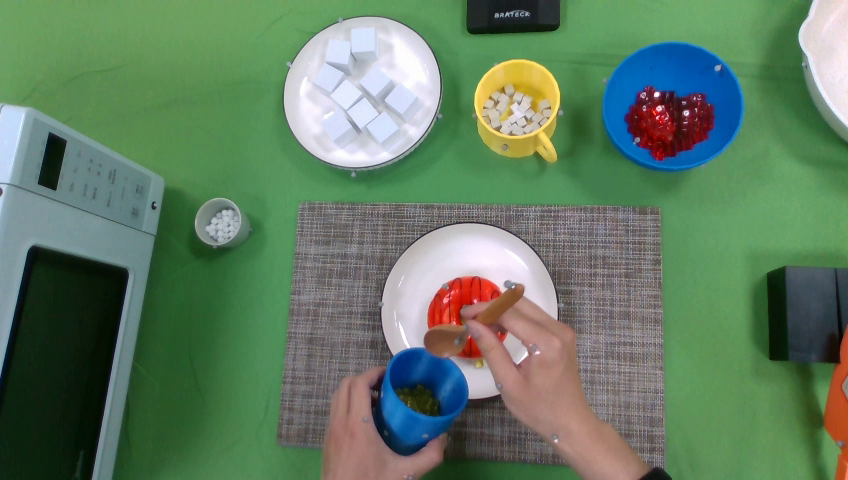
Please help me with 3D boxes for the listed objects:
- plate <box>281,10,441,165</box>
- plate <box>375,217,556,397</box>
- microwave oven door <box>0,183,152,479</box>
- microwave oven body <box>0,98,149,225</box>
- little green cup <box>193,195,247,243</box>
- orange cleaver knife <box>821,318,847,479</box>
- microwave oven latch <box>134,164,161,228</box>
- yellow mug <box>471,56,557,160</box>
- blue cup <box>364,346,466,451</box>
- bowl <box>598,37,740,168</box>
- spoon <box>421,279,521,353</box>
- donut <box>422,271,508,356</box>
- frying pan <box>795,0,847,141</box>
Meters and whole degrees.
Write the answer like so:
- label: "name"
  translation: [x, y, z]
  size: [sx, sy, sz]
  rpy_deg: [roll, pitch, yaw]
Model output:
- label: "plate"
  translation: [-0.079, -0.193, 0.783]
  size: [0.207, 0.039, 0.207]
  rpy_deg: [-1, 80, 8]
- label: "plate"
  translation: [0.048, 0.077, 0.712]
  size: [0.209, 0.038, 0.208]
  rpy_deg: [-1, 80, 8]
- label: "microwave oven door"
  translation: [-0.402, 0.139, 0.645]
  size: [0.039, 0.245, 0.354]
  rpy_deg: [4, 80, 9]
- label: "microwave oven body"
  translation: [-0.540, 0.087, 0.679]
  size: [0.325, 0.261, 0.440]
  rpy_deg: [5, 81, 8]
- label: "little green cup"
  translation: [-0.259, -0.024, 0.777]
  size: [0.061, 0.039, 0.061]
  rpy_deg: [-1, 81, 7]
- label: "orange cleaver knife"
  translation: [0.428, 0.184, 0.621]
  size: [0.012, 0.077, 0.212]
  rpy_deg: [1, 109, 9]
- label: "microwave oven latch"
  translation: [-0.363, -0.058, 0.779]
  size: [0.030, 0.029, 0.079]
  rpy_deg: [8, 82, 9]
- label: "yellow mug"
  translation: [0.118, -0.151, 0.733]
  size: [0.100, 0.064, 0.130]
  rpy_deg: [-35, 78, 1]
- label: "blue cup"
  translation: [-0.017, 0.169, 0.615]
  size: [0.093, 0.100, 0.091]
  rpy_deg: [16, 48, -18]
- label: "bowl"
  translation: [0.275, -0.147, 0.704]
  size: [0.151, 0.077, 0.151]
  rpy_deg: [-1, 80, 8]
- label: "spoon"
  translation: [0.040, 0.071, 0.531]
  size: [0.042, 0.194, 0.021]
  rpy_deg: [28, 64, -7]
- label: "donut"
  translation: [0.047, 0.084, 0.700]
  size: [0.099, 0.048, 0.099]
  rpy_deg: [-1, 83, 9]
- label: "frying pan"
  translation: [0.550, -0.114, 0.646]
  size: [0.306, 0.103, 0.485]
  rpy_deg: [7, 73, 10]
